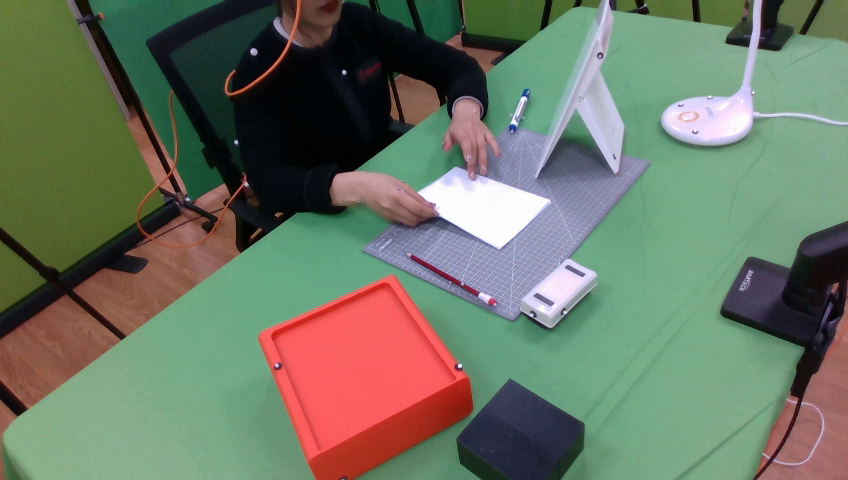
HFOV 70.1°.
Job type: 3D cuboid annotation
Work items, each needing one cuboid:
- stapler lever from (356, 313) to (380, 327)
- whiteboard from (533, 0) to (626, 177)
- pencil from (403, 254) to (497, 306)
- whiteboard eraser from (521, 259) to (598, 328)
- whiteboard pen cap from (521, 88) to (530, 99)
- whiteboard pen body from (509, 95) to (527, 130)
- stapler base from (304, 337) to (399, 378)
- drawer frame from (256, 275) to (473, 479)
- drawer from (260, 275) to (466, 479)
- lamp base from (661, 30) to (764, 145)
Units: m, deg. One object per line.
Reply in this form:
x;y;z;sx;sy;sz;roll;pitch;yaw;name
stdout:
-0.107;0.127;0.792;0.118;0.040;0.026;-16;25;3;stapler lever
0.321;-0.258;1.050;0.144;0.306;0.217;21;45;5;whiteboard
0.034;0.056;0.914;0.192;0.012;0.012;27;52;38;pencil
0.189;0.076;0.843;0.055;0.042;0.113;29;53;37;whiteboard eraser
0.218;-0.312;1.301;0.018;0.018;0.033;7;47;18;whiteboard pen cap
0.199;-0.273;1.262;0.017;0.017;0.140;7;44;19;whiteboard pen body
-0.099;0.150;0.805;0.130;0.024;0.041;-14;25;2;stapler base
-0.078;0.164;0.756;0.202;0.083;0.211;-23;43;-17;drawer frame
-0.080;0.162;0.760;0.195;0.073;0.210;-22;42;-16;drawer
0.535;-0.287;1.096;0.179;0.181;0.159;-10;40;-4;lamp base
